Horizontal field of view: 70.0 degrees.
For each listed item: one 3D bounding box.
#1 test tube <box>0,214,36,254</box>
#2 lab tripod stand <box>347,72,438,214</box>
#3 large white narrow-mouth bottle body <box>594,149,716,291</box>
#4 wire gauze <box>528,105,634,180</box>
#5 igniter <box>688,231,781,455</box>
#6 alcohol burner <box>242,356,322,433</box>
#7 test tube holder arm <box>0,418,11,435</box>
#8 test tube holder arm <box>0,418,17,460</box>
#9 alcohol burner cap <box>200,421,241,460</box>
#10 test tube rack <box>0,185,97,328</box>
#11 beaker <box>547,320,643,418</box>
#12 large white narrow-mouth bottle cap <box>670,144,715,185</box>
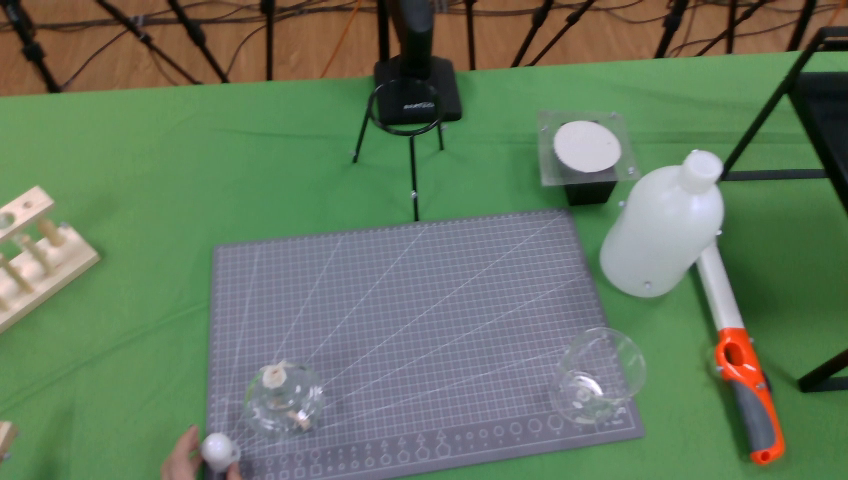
[{"bbox_3d":[-0.455,-0.025,0.635,0.017,0.151,0.017,0,60,1],"label":"test tube"},{"bbox_3d":[-0.029,-0.126,0.751,0.148,0.132,0.147,2,59,-4],"label":"lab tripod stand"},{"bbox_3d":[0.261,-0.028,0.672,0.102,0.196,0.101,1,58,-2],"label":"large white narrow-mouth bottle body"},{"bbox_3d":[0.199,-0.129,0.782,0.121,0.011,0.124,0,58,-3],"label":"wire gauze"},{"bbox_3d":[0.347,0.104,0.694,0.057,0.025,0.274,4,58,-13],"label":"igniter"},{"bbox_3d":[-0.139,0.143,0.588,0.078,0.120,0.077,2,57,-3],"label":"alcohol burner"},{"bbox_3d":[-0.397,0.204,0.541,0.010,0.015,0.087,1,57,8],"label":"test tube holder arm"},{"bbox_3d":[-0.395,0.242,0.517,0.013,0.015,0.177,0,57,8],"label":"test tube holder arm"},{"bbox_3d":[-0.201,0.195,0.593,0.034,0.048,0.033,0,60,0],"label":"alcohol burner cap"},{"bbox_3d":[-0.488,0.055,0.642,0.066,0.086,0.242,37,63,18],"label":"test tube rack"},{"bbox_3d":[0.166,0.136,0.618,0.084,0.101,0.073,-2,58,-3],"label":"beaker"},{"bbox_3d":[0.264,-0.075,0.599,0.038,0.024,0.037,1,58,-2],"label":"large white narrow-mouth bottle cap"}]
